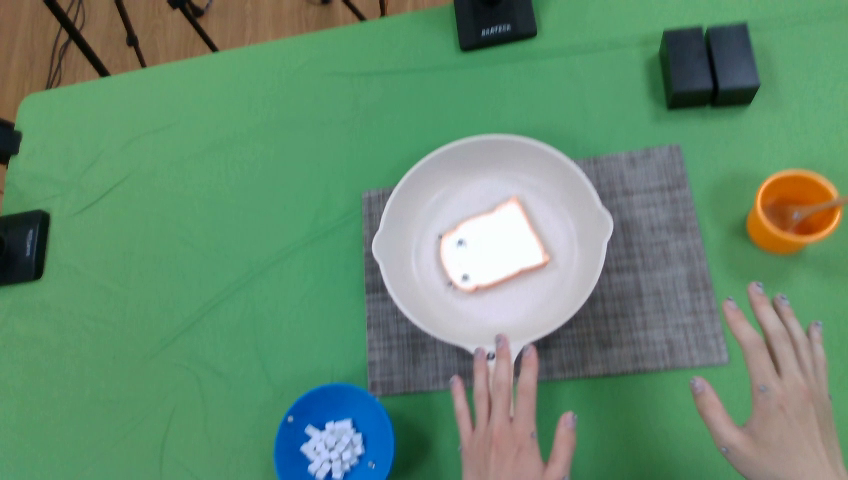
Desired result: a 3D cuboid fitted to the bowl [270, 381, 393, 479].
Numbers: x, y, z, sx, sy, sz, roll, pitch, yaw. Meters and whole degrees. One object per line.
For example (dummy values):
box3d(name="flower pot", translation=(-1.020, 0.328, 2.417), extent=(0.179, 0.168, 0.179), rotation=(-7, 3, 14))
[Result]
box3d(name="bowl", translation=(-0.104, 0.255, 0.752), extent=(0.151, 0.077, 0.150), rotation=(-4, 72, 11))

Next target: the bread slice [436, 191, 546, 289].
box3d(name="bread slice", translation=(0.084, 0.009, 0.815), extent=(0.134, 0.018, 0.106), rotation=(-27, 69, 1))

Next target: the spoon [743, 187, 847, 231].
box3d(name="spoon", translation=(0.462, -0.048, 0.690), extent=(0.022, 0.193, 0.041), rotation=(13, 70, -31))

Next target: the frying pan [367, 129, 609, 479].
box3d(name="frying pan", translation=(0.081, 0.091, 0.747), extent=(0.306, 0.104, 0.483), rotation=(-5, 63, 12))
